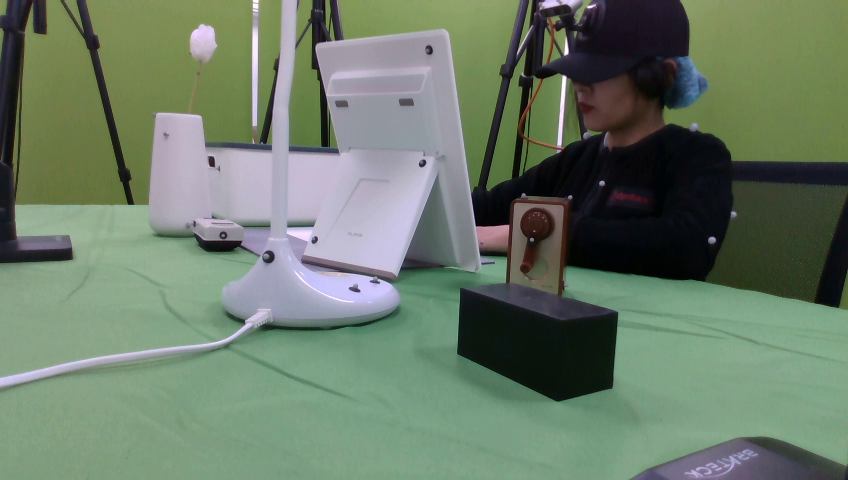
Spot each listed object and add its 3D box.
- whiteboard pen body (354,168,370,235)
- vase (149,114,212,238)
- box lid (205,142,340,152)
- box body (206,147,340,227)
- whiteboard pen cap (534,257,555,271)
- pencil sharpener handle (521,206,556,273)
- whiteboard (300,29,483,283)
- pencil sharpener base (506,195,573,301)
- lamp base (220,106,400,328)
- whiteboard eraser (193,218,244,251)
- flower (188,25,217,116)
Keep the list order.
[{"bbox_3d":[-0.118,-0.073,1.133,0.017,0.140,0.017,5,-25,3],"label":"whiteboard pen body"},{"bbox_3d":[-0.405,-0.106,1.005,0.098,0.200,0.098,2,6,0],"label":"vase"},{"bbox_3d":[-0.270,-0.196,1.310,0.373,0.015,0.262,-2,9,-30],"label":"box lid"},{"bbox_3d":[-0.276,-0.122,1.320,0.366,0.160,0.253,-2,9,-30],"label":"box body"},{"bbox_3d":[0.166,0.033,0.839,0.018,0.018,0.033,-1,6,-23],"label":"whiteboard pen cap"},{"bbox_3d":[0.112,0.000,0.613,0.036,0.067,0.031,13,10,14],"label":"pencil sharpener handle"},{"bbox_3d":[-0.074,-0.082,0.742,0.216,0.305,0.144,9,29,38],"label":"whiteboard"},{"bbox_3d":[0.127,0.007,0.663,0.061,0.107,0.077,5,8,15],"label":"pencil sharpener base"},{"bbox_3d":[-0.101,-0.023,0.531,0.160,0.180,0.179,4,10,10],"label":"lamp base"},{"bbox_3d":[-0.307,-0.009,0.900,0.056,0.042,0.112,-4,10,-28],"label":"whiteboard eraser"},{"bbox_3d":[-0.394,-0.189,1.011,0.044,0.361,0.038,-1,-13,27],"label":"flower"}]
